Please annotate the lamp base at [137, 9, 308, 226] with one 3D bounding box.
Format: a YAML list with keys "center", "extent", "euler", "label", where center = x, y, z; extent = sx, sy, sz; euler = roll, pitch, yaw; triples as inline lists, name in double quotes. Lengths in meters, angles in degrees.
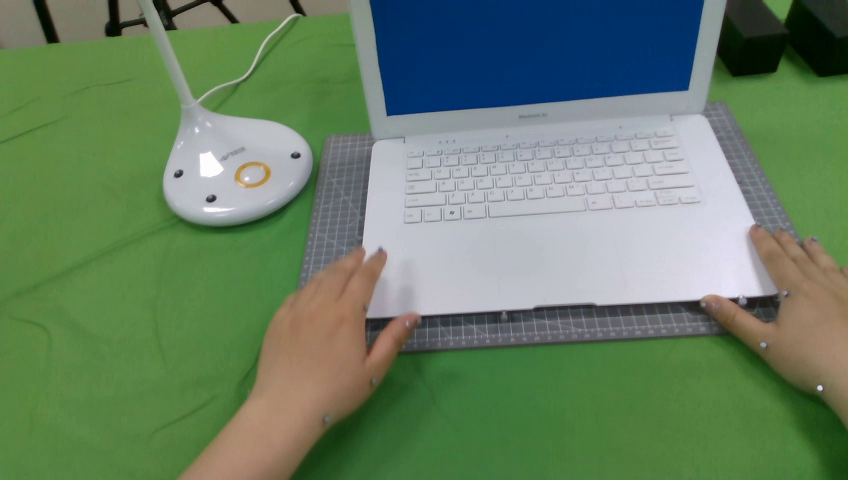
- center: [-0.223, -0.131, 0.608]
  extent: [0.177, 0.182, 0.160]
  euler: [27, 56, 31]
  label: "lamp base"

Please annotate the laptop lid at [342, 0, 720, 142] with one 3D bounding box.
- center: [0.102, -0.207, 0.581]
  extent: [0.356, 0.244, 0.013]
  euler: [-5, 40, 5]
  label: "laptop lid"

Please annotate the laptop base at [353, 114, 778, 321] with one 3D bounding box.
- center: [0.114, -0.028, 0.579]
  extent: [0.354, 0.023, 0.233]
  euler: [-4, 51, 4]
  label: "laptop base"
